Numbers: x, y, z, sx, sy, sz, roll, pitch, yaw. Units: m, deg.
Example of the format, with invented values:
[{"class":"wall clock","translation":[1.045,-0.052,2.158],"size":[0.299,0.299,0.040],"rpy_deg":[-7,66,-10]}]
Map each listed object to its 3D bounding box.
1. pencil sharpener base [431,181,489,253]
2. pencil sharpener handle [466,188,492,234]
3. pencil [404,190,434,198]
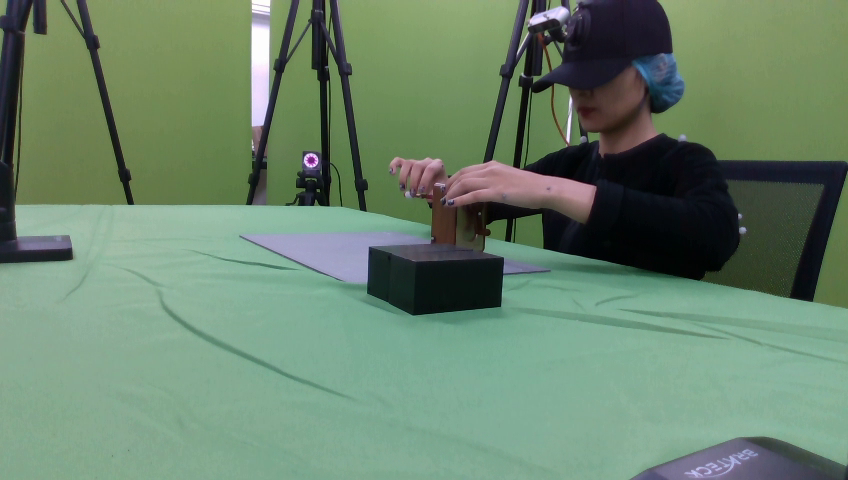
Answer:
[{"class":"pencil sharpener base","translation":[0.057,-0.037,0.943],"size":[0.062,0.107,0.076],"rpy_deg":[-2,9,-31]},{"class":"pencil sharpener handle","translation":[0.087,-0.042,0.901],"size":[0.036,0.068,0.030],"rpy_deg":[-15,16,-29]},{"class":"pencil","translation":[0.018,-0.072,1.008],"size":[0.012,0.012,0.193],"rpy_deg":[-2,8,-31]}]
